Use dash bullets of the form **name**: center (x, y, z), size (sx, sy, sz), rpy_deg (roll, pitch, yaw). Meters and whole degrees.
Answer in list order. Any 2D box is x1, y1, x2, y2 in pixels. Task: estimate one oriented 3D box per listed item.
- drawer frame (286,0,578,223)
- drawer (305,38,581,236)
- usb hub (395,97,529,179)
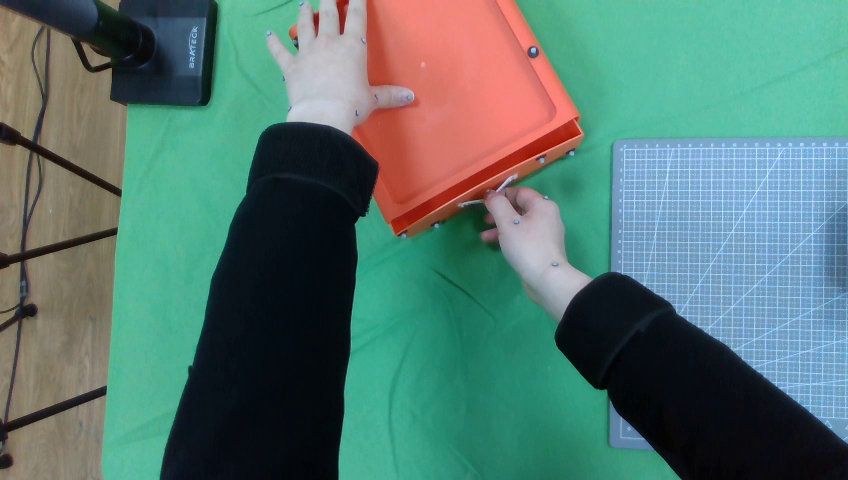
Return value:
- **drawer frame**: center (0.007, -0.152, 0.585), size (0.201, 0.083, 0.213), rpy_deg (-29, 84, 8)
- **drawer**: center (0.015, -0.138, 0.586), size (0.194, 0.073, 0.211), rpy_deg (-28, 84, 9)
- **usb hub**: center (0.036, -0.100, 0.597), size (0.125, 0.025, 0.049), rpy_deg (-13, 88, 14)
